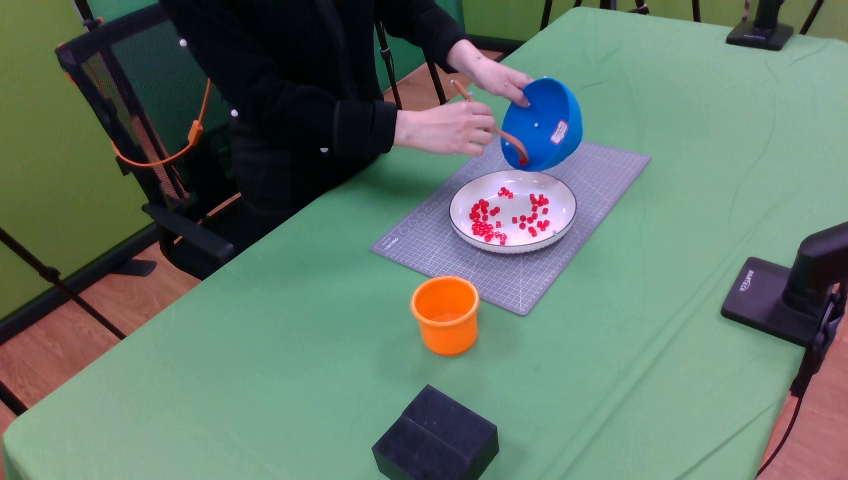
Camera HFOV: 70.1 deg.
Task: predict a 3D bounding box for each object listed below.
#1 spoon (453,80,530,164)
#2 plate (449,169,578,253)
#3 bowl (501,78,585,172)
[{"bbox_3d":[0.107,-0.180,0.935,0.021,0.195,0.041,-47,34,12],"label":"spoon"},{"bbox_3d":[0.146,-0.044,0.993,0.209,0.038,0.208,-5,40,5],"label":"plate"},{"bbox_3d":[0.204,-0.177,0.978,0.077,0.151,0.150,10,28,-35],"label":"bowl"}]
